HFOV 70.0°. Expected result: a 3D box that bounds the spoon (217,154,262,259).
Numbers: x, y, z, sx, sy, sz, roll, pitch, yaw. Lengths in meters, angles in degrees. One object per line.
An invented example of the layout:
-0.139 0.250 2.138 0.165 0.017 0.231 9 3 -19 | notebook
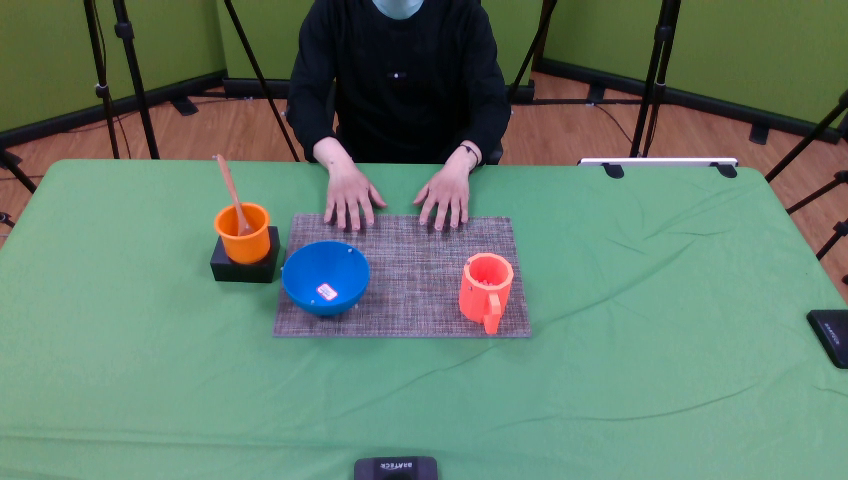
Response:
-0.330 -0.060 1.073 0.042 0.194 0.021 -18 6 -21 | spoon

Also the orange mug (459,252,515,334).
0.111 0.096 1.052 0.083 0.101 0.125 -4 42 -7 | orange mug

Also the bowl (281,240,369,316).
-0.170 0.080 1.062 0.151 0.077 0.150 2 46 -2 | bowl
